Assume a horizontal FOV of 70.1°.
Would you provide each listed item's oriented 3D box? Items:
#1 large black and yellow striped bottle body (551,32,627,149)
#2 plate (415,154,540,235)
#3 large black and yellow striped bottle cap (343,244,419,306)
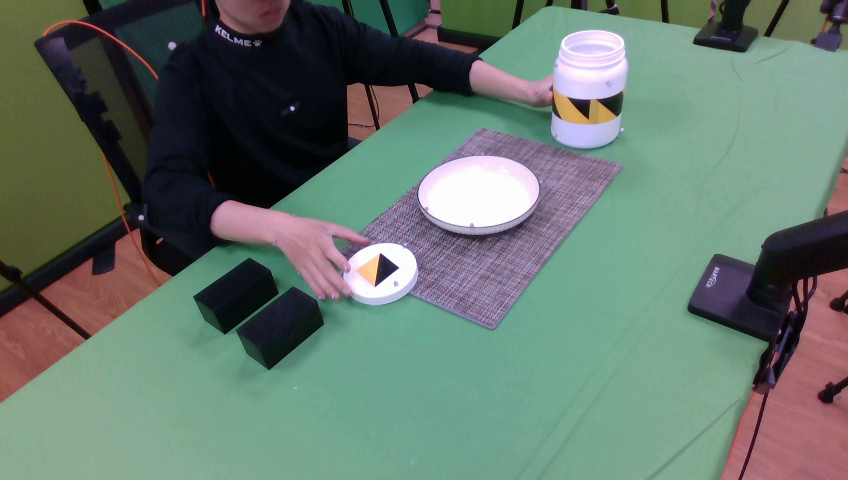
[{"bbox_3d":[0.305,-0.278,1.125,0.131,0.185,0.130,-4,41,4],"label":"large black and yellow striped bottle body"},{"bbox_3d":[0.090,-0.074,1.025,0.207,0.039,0.206,-4,41,4],"label":"plate"},{"bbox_3d":[-0.066,0.051,0.918,0.115,0.019,0.114,-6,43,6],"label":"large black and yellow striped bottle cap"}]
